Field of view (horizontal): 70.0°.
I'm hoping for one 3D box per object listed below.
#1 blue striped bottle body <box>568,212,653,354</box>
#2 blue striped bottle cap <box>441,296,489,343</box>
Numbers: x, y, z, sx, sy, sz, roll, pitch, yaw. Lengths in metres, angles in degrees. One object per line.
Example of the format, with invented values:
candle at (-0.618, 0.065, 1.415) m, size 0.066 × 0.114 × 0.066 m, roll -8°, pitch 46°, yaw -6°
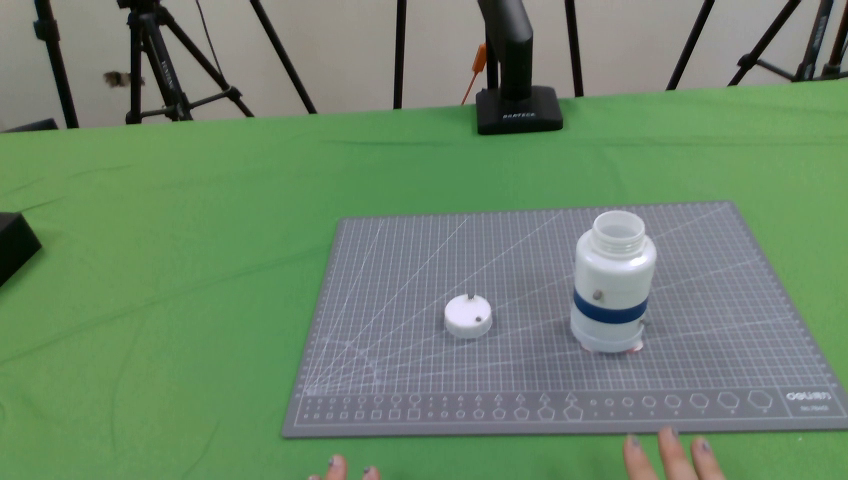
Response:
blue striped bottle body at (0.157, 0.035, 0.512) m, size 0.063 × 0.122 × 0.062 m, roll -4°, pitch 39°, yaw 3°
blue striped bottle cap at (0.039, 0.074, 0.566) m, size 0.044 × 0.021 × 0.044 m, roll -3°, pitch 37°, yaw 3°
